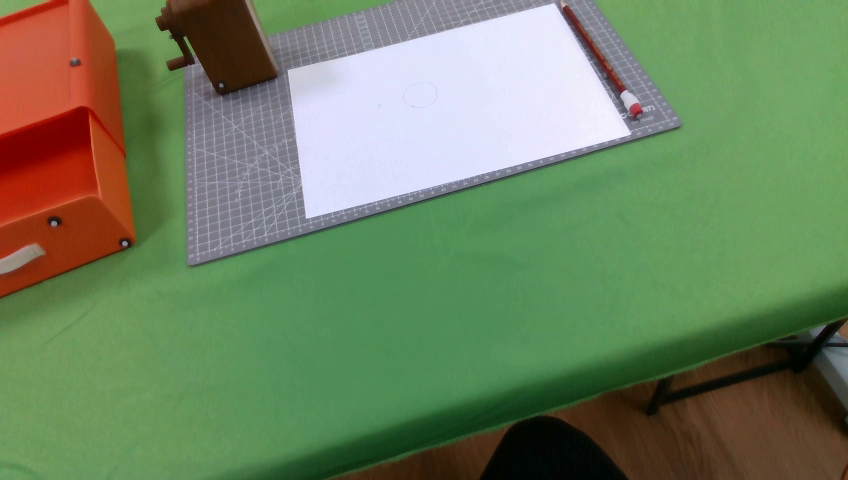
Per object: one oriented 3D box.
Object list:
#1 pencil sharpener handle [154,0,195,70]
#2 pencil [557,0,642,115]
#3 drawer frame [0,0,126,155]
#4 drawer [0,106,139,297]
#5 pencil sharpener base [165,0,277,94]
[{"bbox_3d":[-0.256,-0.202,0.605,0.030,0.068,0.035,-21,52,-4],"label":"pencil sharpener handle"},{"bbox_3d":[0.168,-0.188,0.598,0.012,0.012,0.192,-17,53,-2],"label":"pencil"},{"bbox_3d":[-0.427,-0.140,0.625,0.202,0.083,0.211,-22,54,-6],"label":"drawer frame"},{"bbox_3d":[-0.383,-0.054,0.560,0.194,0.074,0.209,-23,55,-6],"label":"drawer"},{"bbox_3d":[-0.206,-0.214,0.620,0.077,0.108,0.060,-21,55,-4],"label":"pencil sharpener base"}]
